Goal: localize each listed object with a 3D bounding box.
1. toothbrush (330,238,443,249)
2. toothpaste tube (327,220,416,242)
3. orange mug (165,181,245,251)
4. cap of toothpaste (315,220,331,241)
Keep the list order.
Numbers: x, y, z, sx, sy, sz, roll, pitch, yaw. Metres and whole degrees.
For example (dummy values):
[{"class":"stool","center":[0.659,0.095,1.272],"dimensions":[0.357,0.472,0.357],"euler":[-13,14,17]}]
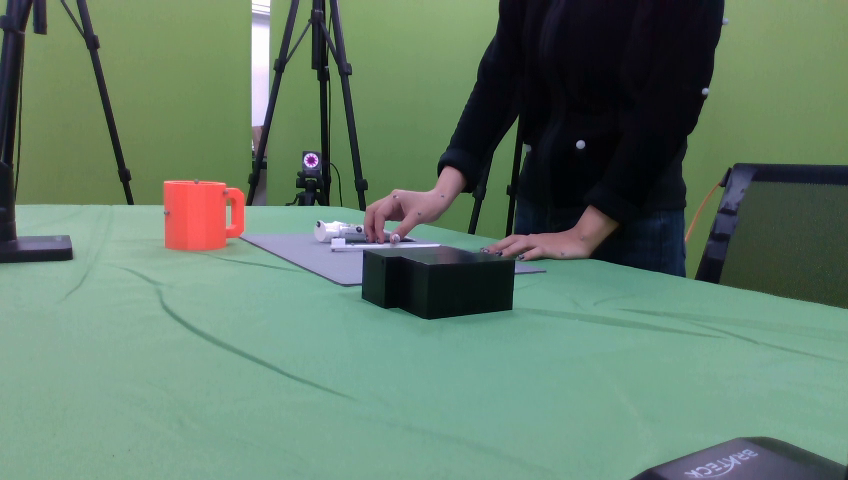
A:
[{"class":"toothbrush","center":[-0.055,0.006,0.927],"dimensions":[0.183,0.016,0.014],"euler":[1,-2,-23]},{"class":"toothpaste tube","center":[-0.095,-0.012,1.026],"dimensions":[0.166,0.034,0.055],"euler":[2,13,-33]},{"class":"orange mug","center":[-0.326,-0.040,0.911],"dimensions":[0.083,0.101,0.127],"euler":[8,14,37]},{"class":"cap of toothpaste","center":[-0.165,-0.016,0.982],"dimensions":[0.011,0.037,0.037],"euler":[-9,12,-44]}]
